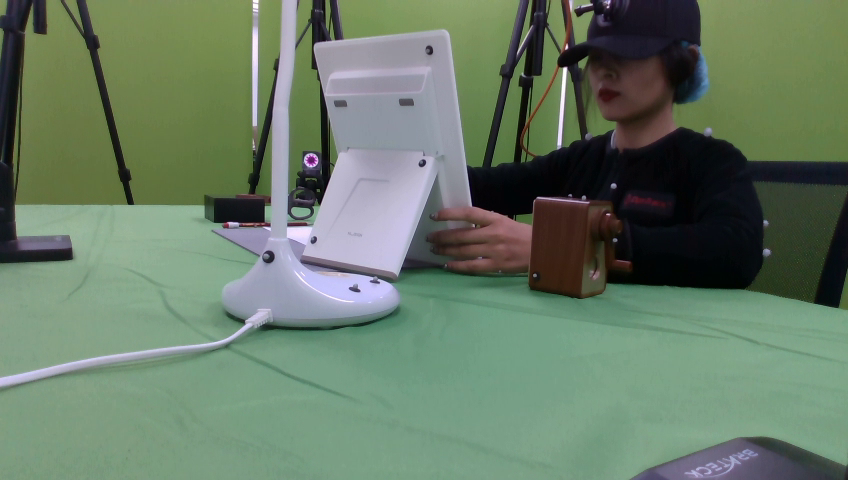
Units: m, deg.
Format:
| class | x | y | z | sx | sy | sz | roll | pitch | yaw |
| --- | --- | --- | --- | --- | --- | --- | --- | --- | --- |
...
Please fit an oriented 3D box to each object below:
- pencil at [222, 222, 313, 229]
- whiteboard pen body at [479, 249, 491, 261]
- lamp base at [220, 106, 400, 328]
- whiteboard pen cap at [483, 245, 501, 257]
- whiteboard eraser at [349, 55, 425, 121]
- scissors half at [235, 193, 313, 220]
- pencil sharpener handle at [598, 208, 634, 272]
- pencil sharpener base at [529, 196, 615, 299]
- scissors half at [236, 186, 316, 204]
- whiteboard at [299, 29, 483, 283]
| class | x | y | z | sx | sy | sz | roll | pitch | yaw |
| --- | --- | --- | --- | --- | --- | --- | --- | --- | --- |
| pencil | -0.302 | -0.030 | 1.189 | 0.195 | 0.012 | 0.012 | -2 | 9 | -42 |
| whiteboard pen body | 0.032 | 0.016 | 0.899 | 0.140 | 0.017 | 0.017 | 6 | 8 | 28 |
| lamp base | -0.101 | -0.023 | 0.531 | 0.160 | 0.180 | 0.179 | 4 | 10 | 10 |
| whiteboard pen cap | 0.104 | 0.017 | 0.936 | 0.018 | 0.018 | 0.033 | -1 | 4 | -22 |
| whiteboard eraser | -0.055 | -0.206 | 0.826 | 0.112 | 0.055 | 0.042 | -15 | 9 | 42 |
| scissors half | -0.325 | -0.077 | 1.320 | 0.176 | 0.040 | 0.012 | 17 | 8 | -32 |
| pencil sharpener handle | 0.208 | 0.000 | 0.645 | 0.030 | 0.068 | 0.036 | 10 | 23 | 42 |
| pencil sharpener base | 0.167 | 0.007 | 0.678 | 0.076 | 0.107 | 0.062 | 10 | 10 | 42 |
| scissors half | -0.320 | -0.096 | 1.316 | 0.176 | 0.040 | 0.013 | -3 | 13 | -29 |
| whiteboard | -0.074 | -0.082 | 0.742 | 0.216 | 0.305 | 0.144 | 9 | 29 | 37 |
